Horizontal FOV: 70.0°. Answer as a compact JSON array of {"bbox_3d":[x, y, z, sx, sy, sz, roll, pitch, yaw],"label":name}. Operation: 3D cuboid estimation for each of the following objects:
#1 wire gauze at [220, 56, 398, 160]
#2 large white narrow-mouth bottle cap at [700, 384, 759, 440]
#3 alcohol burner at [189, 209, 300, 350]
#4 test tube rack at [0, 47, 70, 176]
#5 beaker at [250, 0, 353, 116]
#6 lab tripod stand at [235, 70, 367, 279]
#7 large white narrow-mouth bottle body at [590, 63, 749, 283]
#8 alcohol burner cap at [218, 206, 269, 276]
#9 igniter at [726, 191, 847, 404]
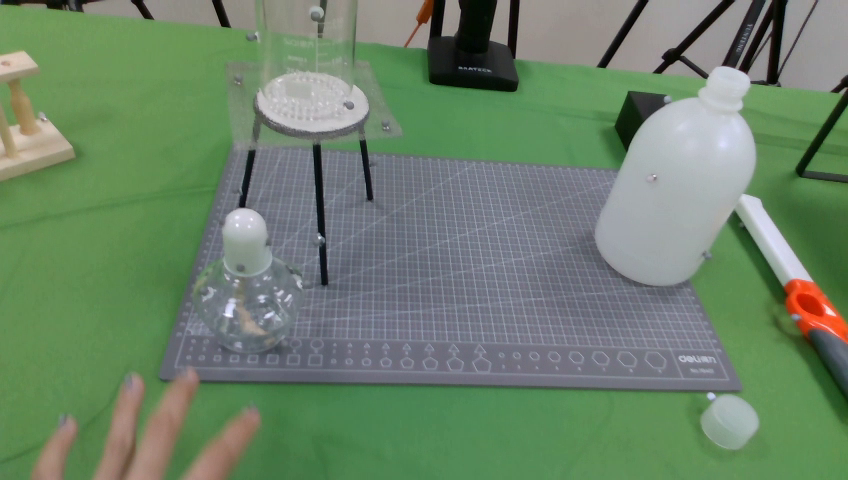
[{"bbox_3d":[-0.093,-0.111,0.473,0.122,0.011,0.123,-8,49,-17],"label":"wire gauze"},{"bbox_3d":[0.232,0.132,0.462,0.038,0.024,0.037,5,43,-4],"label":"large white narrow-mouth bottle cap"},{"bbox_3d":[-0.128,0.024,0.433,0.078,0.120,0.077,7,41,-6],"label":"alcohol burner"},{"bbox_3d":[-0.449,-0.083,0.509,0.242,0.086,0.066,-30,56,-35],"label":"test tube rack"},{"bbox_3d":[-0.091,-0.149,0.441,0.084,0.101,0.073,-2,45,-13],"label":"beaker"},{"bbox_3d":[-0.098,-0.062,0.516,0.149,0.132,0.147,7,43,-6],"label":"lab tripod stand"},{"bbox_3d":[0.220,-0.059,0.530,0.102,0.196,0.101,5,43,-4],"label":"large white narrow-mouth bottle body"},{"bbox_3d":[-0.123,-0.002,0.408,0.034,0.048,0.033,5,49,-5],"label":"alcohol burner cap"},{"bbox_3d":[0.351,0.047,0.570,0.057,0.025,0.273,12,41,-14],"label":"igniter"}]
